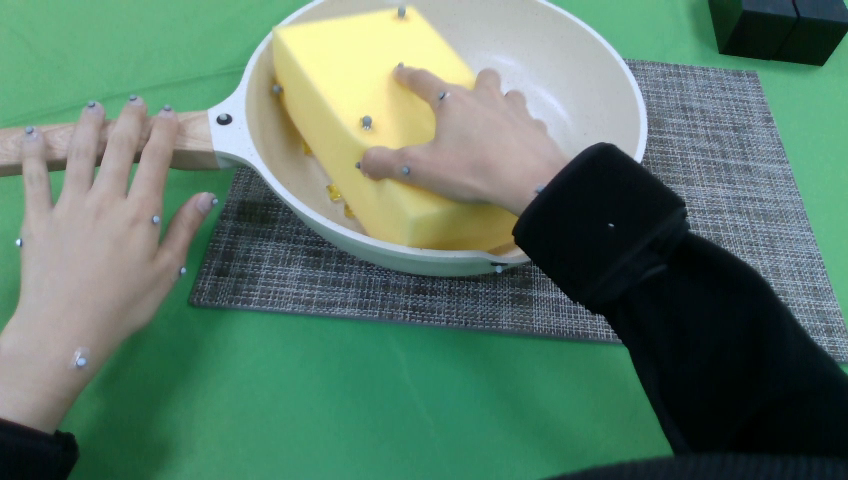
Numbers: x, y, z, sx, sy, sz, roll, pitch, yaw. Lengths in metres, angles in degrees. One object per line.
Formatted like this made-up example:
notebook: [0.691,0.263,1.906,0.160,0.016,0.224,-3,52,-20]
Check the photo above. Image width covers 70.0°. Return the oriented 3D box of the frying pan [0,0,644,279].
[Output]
frying pan: [-0.086,-0.076,0.429,0.489,0.103,0.303,-7,54,-18]

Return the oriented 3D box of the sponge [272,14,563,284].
sponge: [-0.014,-0.077,0.438,0.118,0.061,0.204,-21,56,-26]
